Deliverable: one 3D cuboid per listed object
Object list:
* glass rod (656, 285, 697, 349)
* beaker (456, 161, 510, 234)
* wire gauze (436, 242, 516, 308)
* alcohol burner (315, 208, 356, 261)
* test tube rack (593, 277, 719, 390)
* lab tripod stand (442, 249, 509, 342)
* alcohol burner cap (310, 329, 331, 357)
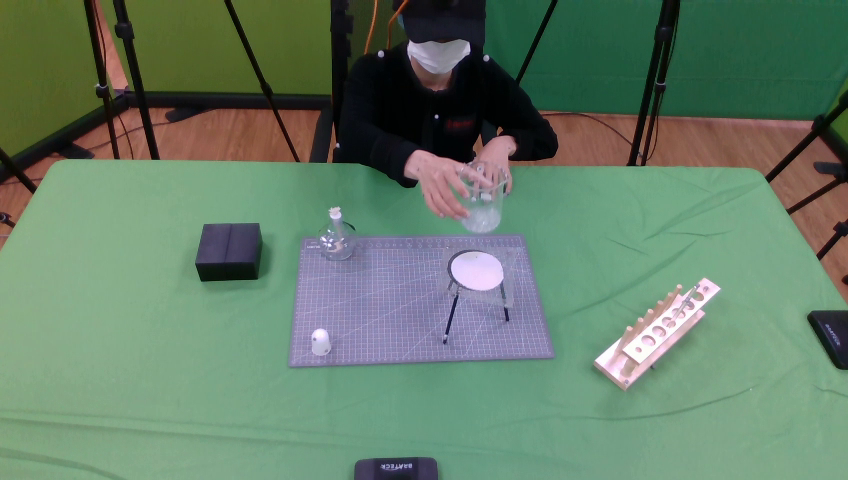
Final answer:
[{"bbox_3d":[0.401,0.128,0.971,0.008,0.201,0.008,0,53,1],"label":"glass rod"},{"bbox_3d":[0.094,-0.066,0.982,0.084,0.101,0.073,3,45,6],"label":"beaker"},{"bbox_3d":[0.087,0.051,0.981,0.125,0.011,0.121,10,46,3],"label":"wire gauze"},{"bbox_3d":[-0.166,-0.017,1.134,0.078,0.119,0.077,2,48,-2],"label":"alcohol burner"},{"bbox_3d":[0.401,0.148,1.043,0.242,0.085,0.066,-30,55,-29],"label":"test tube rack"},{"bbox_3d":[0.081,0.091,1.036,0.148,0.132,0.147,3,44,-3],"label":"lab tripod stand"},{"bbox_3d":[-0.173,0.168,1.004,0.034,0.048,0.033,2,46,-2],"label":"alcohol burner cap"}]
